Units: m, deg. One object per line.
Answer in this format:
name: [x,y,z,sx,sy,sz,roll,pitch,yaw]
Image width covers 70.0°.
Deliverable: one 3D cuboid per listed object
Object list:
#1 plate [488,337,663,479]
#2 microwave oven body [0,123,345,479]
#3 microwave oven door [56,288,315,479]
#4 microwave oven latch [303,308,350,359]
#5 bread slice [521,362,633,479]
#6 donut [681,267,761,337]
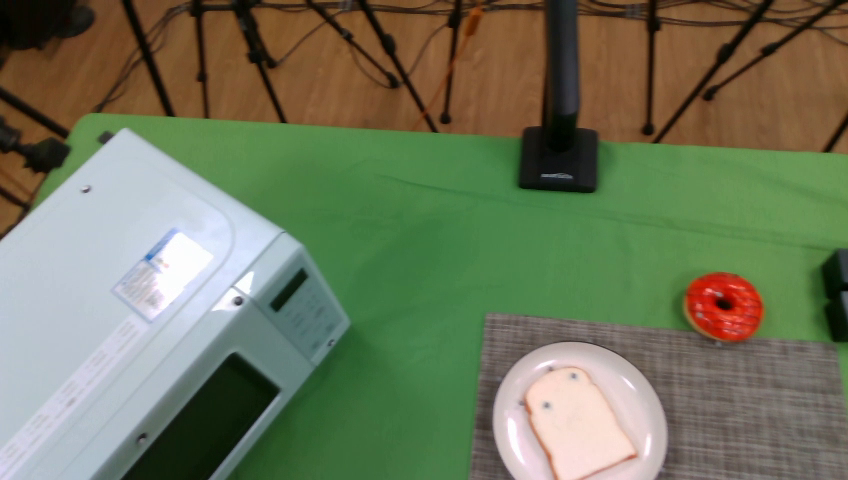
plate: [0.183,0.224,0.748,0.207,0.039,0.206,-3,62,5]
microwave oven body: [-0.369,0.137,0.736,0.324,0.262,0.440,31,71,20]
microwave oven door: [-0.278,0.236,0.667,0.039,0.246,0.355,31,70,22]
microwave oven latch: [-0.135,0.122,0.825,0.030,0.030,0.079,33,71,21]
bread slice: [0.181,0.218,0.753,0.105,0.019,0.130,-22,62,-6]
donut: [0.390,0.081,0.797,0.099,0.049,0.098,-5,58,8]
